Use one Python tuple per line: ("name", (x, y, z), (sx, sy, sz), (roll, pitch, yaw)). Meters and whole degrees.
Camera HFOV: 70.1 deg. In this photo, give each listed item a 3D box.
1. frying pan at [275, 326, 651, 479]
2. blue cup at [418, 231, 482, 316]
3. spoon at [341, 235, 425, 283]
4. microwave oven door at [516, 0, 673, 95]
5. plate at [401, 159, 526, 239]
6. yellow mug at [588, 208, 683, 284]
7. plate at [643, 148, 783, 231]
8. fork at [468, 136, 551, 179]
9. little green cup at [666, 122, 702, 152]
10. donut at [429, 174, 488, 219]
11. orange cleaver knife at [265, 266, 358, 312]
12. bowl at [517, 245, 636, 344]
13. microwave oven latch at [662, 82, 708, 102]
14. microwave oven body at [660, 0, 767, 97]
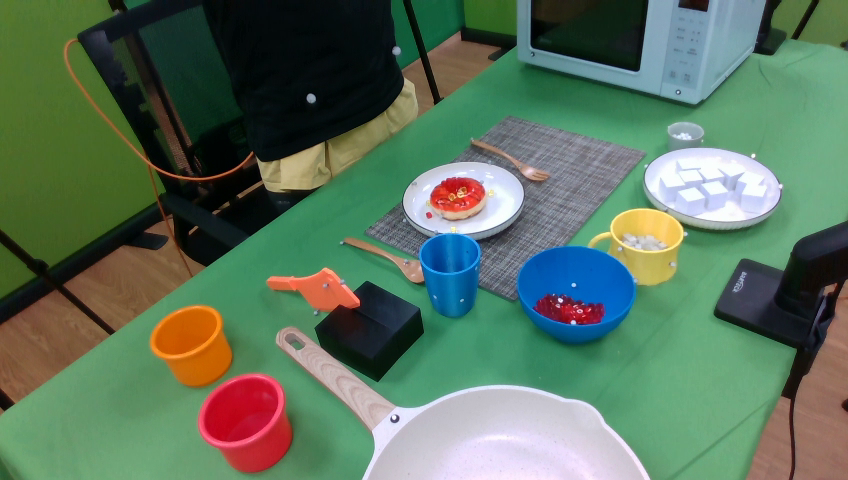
("frying pan", (0.003, 0.229, 0.641), (0.484, 0.103, 0.308), (34, 54, 28))
("blue cup", (0.040, 0.053, 0.843), (0.092, 0.100, 0.092), (-4, 43, 4))
("spoon", (-0.061, 0.023, 0.953), (0.192, 0.022, 0.041), (24, 69, 30))
("microwave oven door", (0.344, -0.458, 1.257), (0.353, 0.245, 0.039), (26, 51, 33))
("plate", (0.067, -0.065, 1.019), (0.209, 0.038, 0.208), (-4, 40, 4))
("yellow mug", (0.305, 0.009, 0.884), (0.131, 0.064, 0.099), (-4, 40, 5))
("plate", (0.464, -0.080, 0.986), (0.207, 0.039, 0.206), (-4, 40, 4))
("fork", (0.154, -0.156, 1.126), (0.028, 0.019, 0.205), (-39, 51, -18))
("little green cup", (0.471, -0.184, 1.102), (0.061, 0.039, 0.061), (-5, 41, 5))
("donut", (0.058, -0.075, 1.015), (0.099, 0.048, 0.098), (-6, 38, 5))
("orange cleaver knife", (-0.164, 0.073, 0.864), (0.210, 0.077, 0.012), (-6, 31, 50))
("bowl", (0.200, 0.084, 0.803), (0.151, 0.077, 0.150), (-4, 40, 4))
("microwave oven latch", (0.518, -0.298, 1.203), (0.078, 0.029, 0.030), (28, 53, 35))
("microwave oven body", (0.473, -0.516, 1.314), (0.438, 0.261, 0.327), (26, 51, 34))
